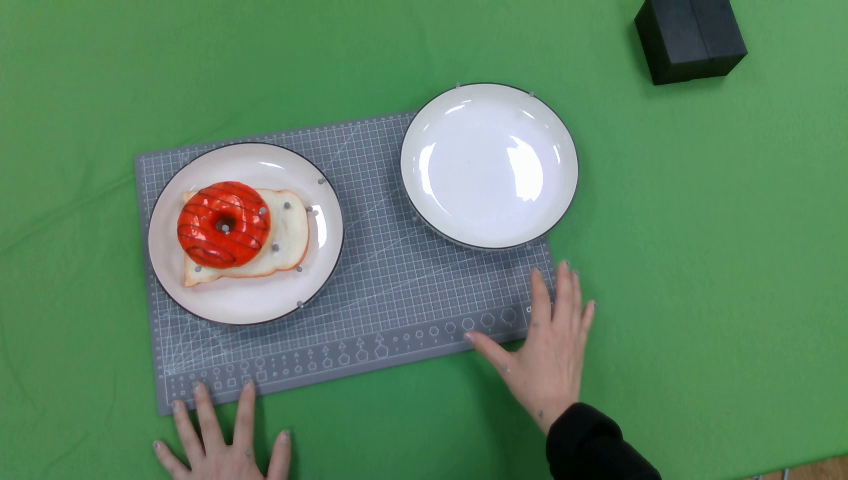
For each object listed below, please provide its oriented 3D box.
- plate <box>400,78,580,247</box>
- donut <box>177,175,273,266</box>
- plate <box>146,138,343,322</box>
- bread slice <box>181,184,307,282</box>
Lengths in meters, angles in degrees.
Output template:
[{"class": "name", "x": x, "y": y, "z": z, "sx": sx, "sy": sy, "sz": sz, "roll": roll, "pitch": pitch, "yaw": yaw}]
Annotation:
[{"class": "plate", "x": 0.075, "y": -0.088, "z": 0.706, "sx": 0.208, "sy": 0.039, "sz": 0.206, "roll": 1, "pitch": 74, "yaw": -3}, {"class": "donut", "x": -0.210, "y": -0.021, "z": 0.640, "sx": 0.099, "sy": 0.048, "sz": 0.098, "roll": 1, "pitch": 75, "yaw": -2}, {"class": "plate", "x": -0.193, "y": -0.010, "z": 0.667, "sx": 0.209, "sy": 0.038, "sz": 0.208, "roll": 1, "pitch": 74, "yaw": -4}, {"class": "bread slice", "x": -0.198, "y": -0.014, "z": 0.668, "sx": 0.134, "sy": 0.018, "sz": 0.106, "roll": -8, "pitch": 76, "yaw": -7}]
